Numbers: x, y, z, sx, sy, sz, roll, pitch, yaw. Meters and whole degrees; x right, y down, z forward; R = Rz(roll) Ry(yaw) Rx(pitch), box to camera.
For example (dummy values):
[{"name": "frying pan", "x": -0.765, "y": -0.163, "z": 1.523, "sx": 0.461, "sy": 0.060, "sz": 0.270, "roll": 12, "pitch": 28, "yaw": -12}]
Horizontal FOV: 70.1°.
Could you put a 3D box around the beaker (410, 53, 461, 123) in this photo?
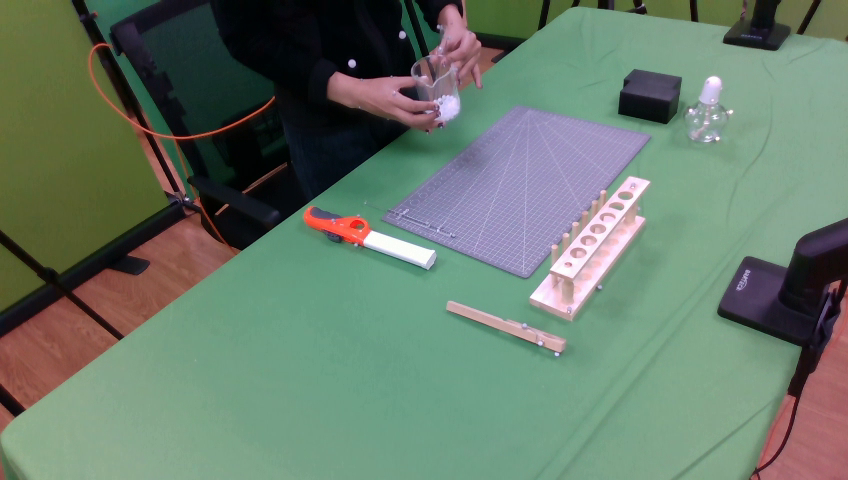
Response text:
[{"name": "beaker", "x": 0.024, "y": -0.263, "z": 1.067, "sx": 0.074, "sy": 0.101, "sz": 0.083, "roll": -7, "pitch": 51, "yaw": 13}]

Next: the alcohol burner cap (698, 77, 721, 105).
[{"name": "alcohol burner cap", "x": 0.509, "y": -0.266, "z": 1.072, "sx": 0.034, "sy": 0.048, "sz": 0.033, "roll": -4, "pitch": 48, "yaw": 4}]

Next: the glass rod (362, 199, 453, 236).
[{"name": "glass rod", "x": -0.032, "y": -0.041, "z": 1.041, "sx": 0.198, "sy": 0.008, "sz": 0.008, "roll": 22, "pitch": 50, "yaw": 31}]

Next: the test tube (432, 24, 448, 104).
[{"name": "test tube", "x": 0.028, "y": -0.316, "z": 1.095, "sx": 0.017, "sy": 0.150, "sz": 0.017, "roll": 4, "pitch": 41, "yaw": -3}]

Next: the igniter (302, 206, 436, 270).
[{"name": "igniter", "x": -0.101, "y": -0.007, "z": 1.004, "sx": 0.274, "sy": 0.025, "sz": 0.057, "roll": 19, "pitch": 58, "yaw": 29}]

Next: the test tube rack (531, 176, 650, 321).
[{"name": "test tube rack", "x": 0.246, "y": 0.002, "z": 0.884, "sx": 0.066, "sy": 0.085, "sz": 0.243, "roll": 22, "pitch": 49, "yaw": 32}]

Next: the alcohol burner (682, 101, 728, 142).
[{"name": "alcohol burner", "x": 0.513, "y": -0.239, "z": 1.097, "sx": 0.078, "sy": 0.119, "sz": 0.077, "roll": -4, "pitch": 40, "yaw": 4}]

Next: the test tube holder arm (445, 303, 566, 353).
[{"name": "test tube holder arm", "x": 0.107, "y": 0.117, "z": 0.824, "sx": 0.177, "sy": 0.015, "sz": 0.013, "roll": 16, "pitch": 11, "yaw": 27}]

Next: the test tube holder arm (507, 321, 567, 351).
[{"name": "test tube holder arm", "x": 0.148, "y": 0.128, "z": 0.808, "sx": 0.087, "sy": 0.015, "sz": 0.010, "roll": 16, "pitch": 11, "yaw": 28}]
